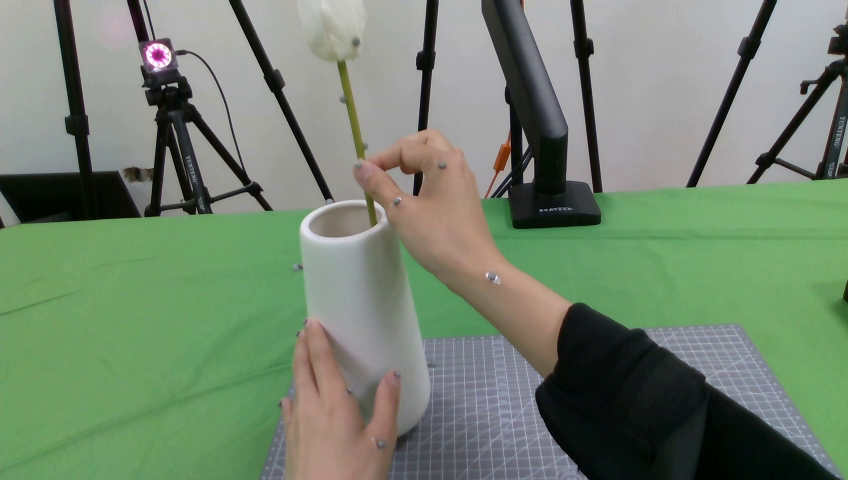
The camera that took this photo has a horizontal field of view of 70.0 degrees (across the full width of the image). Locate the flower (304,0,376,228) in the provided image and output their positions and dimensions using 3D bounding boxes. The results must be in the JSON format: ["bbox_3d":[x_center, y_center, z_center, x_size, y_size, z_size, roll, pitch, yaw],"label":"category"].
[{"bbox_3d":[-0.035,-0.006,0.443,0.044,0.364,0.038,-27,31,-36],"label":"flower"}]

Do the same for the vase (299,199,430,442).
[{"bbox_3d":[-0.049,0.069,0.498,0.098,0.201,0.097,-3,29,2],"label":"vase"}]
